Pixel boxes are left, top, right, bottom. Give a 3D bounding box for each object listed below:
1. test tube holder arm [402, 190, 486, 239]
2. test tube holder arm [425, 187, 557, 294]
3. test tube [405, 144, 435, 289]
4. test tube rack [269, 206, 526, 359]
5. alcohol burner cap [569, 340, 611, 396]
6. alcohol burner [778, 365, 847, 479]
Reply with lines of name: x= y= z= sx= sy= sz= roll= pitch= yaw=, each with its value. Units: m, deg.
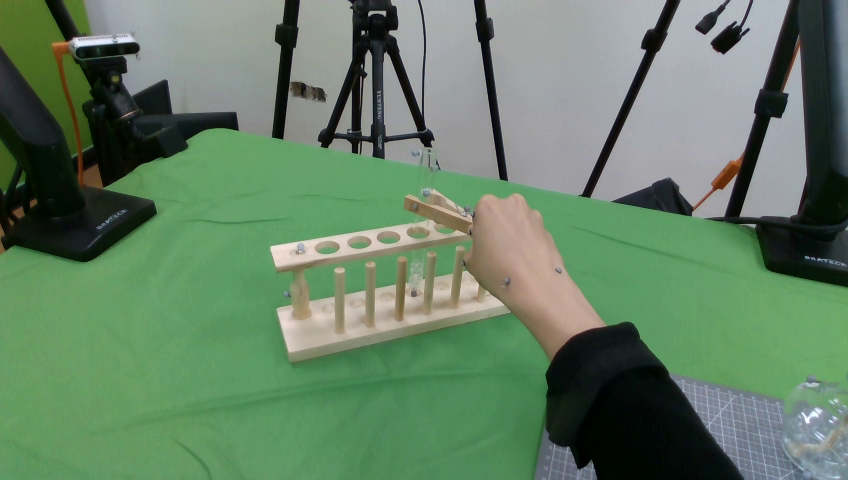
test tube holder arm: x=0.019 y=-0.024 z=0.542 sx=0.087 sy=0.015 sz=0.010 roll=25 pitch=27 yaw=24
test tube holder arm: x=0.051 y=-0.005 z=0.519 sx=0.013 sy=0.015 sz=0.176 roll=-8 pitch=32 yaw=-35
test tube: x=-0.005 y=-0.018 z=0.576 sx=0.017 sy=0.151 sz=0.017 roll=5 pitch=28 yaw=-2
test tube rack: x=-0.018 y=0.036 z=0.583 sx=0.243 sy=0.086 sz=0.066 roll=-10 pitch=36 yaw=-19
alcohol burner cap: x=0.146 y=0.108 z=0.525 sx=0.034 sy=0.048 sz=0.033 roll=3 pitch=35 yaw=-2
alcohol burner: x=0.315 y=0.124 z=0.452 sx=0.078 sy=0.120 sz=0.077 roll=3 pitch=36 yaw=-2
